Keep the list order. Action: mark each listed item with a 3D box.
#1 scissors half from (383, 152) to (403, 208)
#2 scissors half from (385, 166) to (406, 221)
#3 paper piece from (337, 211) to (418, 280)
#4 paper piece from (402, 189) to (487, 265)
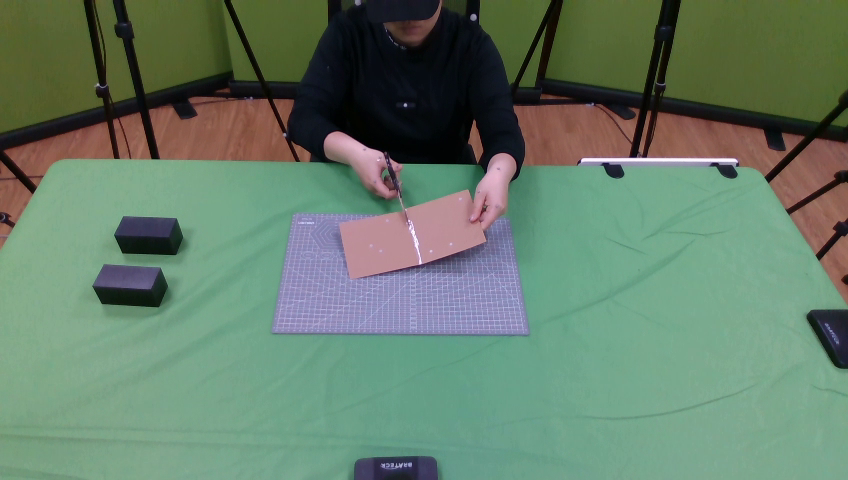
[{"bbox_3d":[-0.057,-0.103,1.226,0.013,0.040,0.174,-18,73,-1],"label":"scissors half"},{"bbox_3d":[-0.055,-0.092,1.245,0.013,0.040,0.174,-15,48,-5],"label":"scissors half"},{"bbox_3d":[-0.091,0.007,1.167,0.135,0.004,0.135,-11,56,-7],"label":"paper piece"},{"bbox_3d":[0.038,-0.028,1.171,0.138,0.009,0.135,-17,61,2],"label":"paper piece"}]
